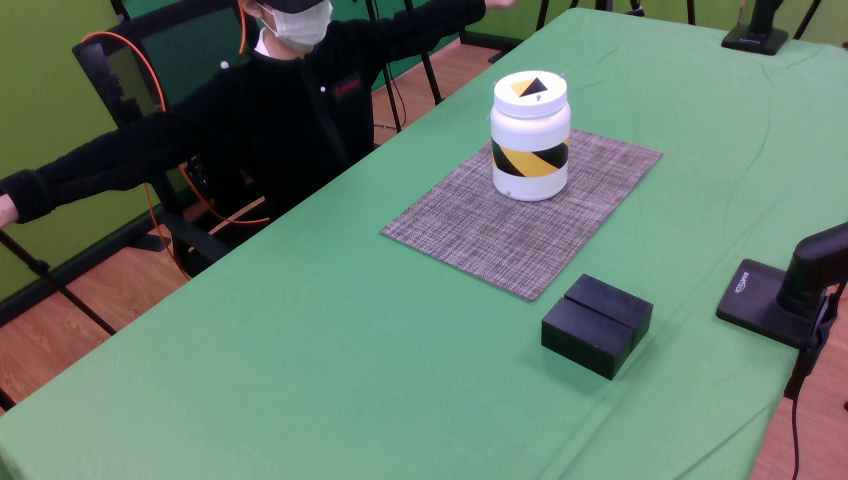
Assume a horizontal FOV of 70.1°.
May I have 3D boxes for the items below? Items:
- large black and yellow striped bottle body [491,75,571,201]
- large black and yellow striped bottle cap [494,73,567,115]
[{"bbox_3d":[0.179,-0.172,1.019,0.131,0.185,0.130,-5,41,5],"label":"large black and yellow striped bottle body"},{"bbox_3d":[0.169,-0.235,0.964,0.115,0.019,0.114,-5,39,5],"label":"large black and yellow striped bottle cap"}]
